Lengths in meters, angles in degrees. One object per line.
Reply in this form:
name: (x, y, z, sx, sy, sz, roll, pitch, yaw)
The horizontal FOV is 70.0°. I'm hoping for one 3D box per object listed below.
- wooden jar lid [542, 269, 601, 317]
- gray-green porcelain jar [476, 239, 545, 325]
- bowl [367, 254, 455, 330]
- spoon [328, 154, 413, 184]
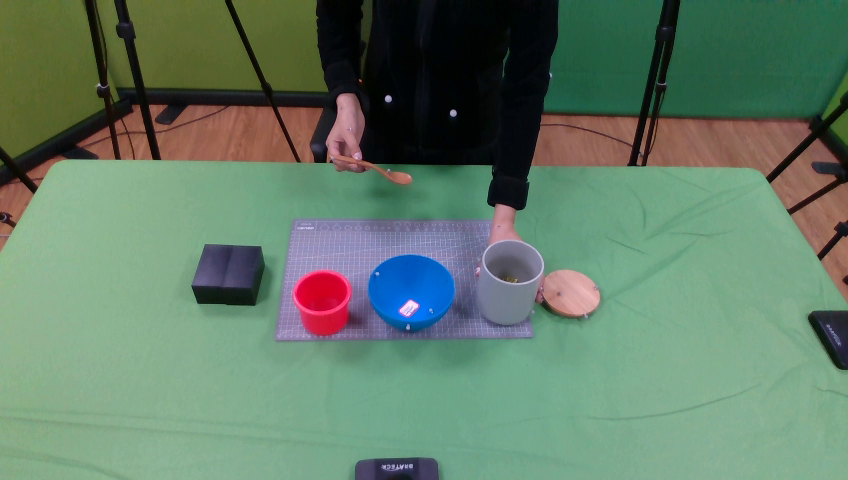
wooden jar lid: (0.272, 0.100, 1.121, 0.108, 0.021, 0.107, 3, 47, -2)
gray-green porcelain jar: (0.147, 0.078, 1.056, 0.106, 0.127, 0.105, 2, 46, -2)
bowl: (-0.023, 0.104, 1.053, 0.151, 0.077, 0.150, 2, 46, -2)
spoon: (-0.100, -0.140, 1.166, 0.195, 0.021, 0.041, 16, 32, -41)
